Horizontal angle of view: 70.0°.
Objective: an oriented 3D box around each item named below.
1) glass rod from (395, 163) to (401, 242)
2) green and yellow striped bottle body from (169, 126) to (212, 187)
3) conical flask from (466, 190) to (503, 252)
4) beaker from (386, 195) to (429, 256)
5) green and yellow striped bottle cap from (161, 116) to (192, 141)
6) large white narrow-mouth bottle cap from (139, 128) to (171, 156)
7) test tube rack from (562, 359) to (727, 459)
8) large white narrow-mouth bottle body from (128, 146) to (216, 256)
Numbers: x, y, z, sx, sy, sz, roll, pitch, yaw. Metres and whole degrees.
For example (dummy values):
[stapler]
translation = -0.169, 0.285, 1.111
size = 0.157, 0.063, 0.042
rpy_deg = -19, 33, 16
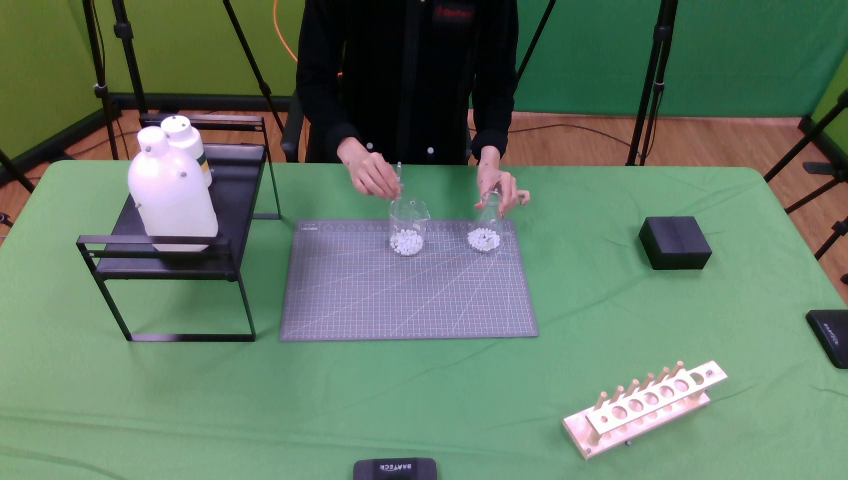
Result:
[glass rod]
translation = -0.049, -0.064, 1.116
size = 0.008, 0.200, 0.008
rpy_deg = 2, 48, -2
[green and yellow striped bottle body]
translation = -0.389, -0.139, 0.984
size = 0.063, 0.120, 0.063
rpy_deg = 2, 46, -2
[conical flask]
translation = 0.123, -0.040, 1.172
size = 0.075, 0.122, 0.075
rpy_deg = 2, 46, -2
[beaker]
translation = -0.031, -0.024, 1.161
size = 0.084, 0.101, 0.073
rpy_deg = 18, 48, 12
[green and yellow striped bottle cap]
translation = -0.387, -0.174, 0.946
size = 0.045, 0.020, 0.045
rpy_deg = 3, 44, -3
[large white narrow-mouth bottle cap]
translation = -0.358, -0.131, 0.808
size = 0.038, 0.024, 0.037
rpy_deg = 3, 47, -3
[test tube rack]
translation = 0.341, 0.247, 0.940
size = 0.243, 0.085, 0.066
rpy_deg = -16, 49, -18
[large white narrow-mouth bottle body]
translation = -0.366, -0.073, 0.872
size = 0.102, 0.195, 0.101
rpy_deg = 3, 47, -3
